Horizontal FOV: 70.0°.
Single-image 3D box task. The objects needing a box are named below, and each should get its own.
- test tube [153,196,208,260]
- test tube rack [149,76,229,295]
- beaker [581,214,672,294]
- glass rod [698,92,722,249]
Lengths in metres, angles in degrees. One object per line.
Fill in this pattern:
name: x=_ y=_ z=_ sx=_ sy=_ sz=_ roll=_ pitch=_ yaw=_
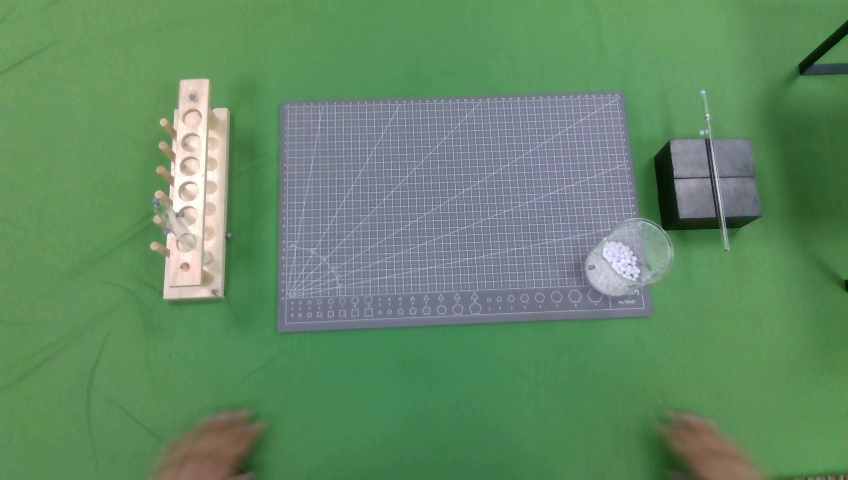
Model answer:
test tube: x=-0.256 y=-0.008 z=0.647 sx=0.017 sy=0.151 sz=0.017 roll=2 pitch=69 yaw=-4
test tube rack: x=-0.278 y=-0.062 z=0.710 sx=0.067 sy=0.085 sz=0.241 roll=-2 pitch=76 yaw=-2
beaker: x=0.225 y=0.021 z=0.696 sx=0.084 sy=0.101 sz=0.073 roll=0 pitch=75 yaw=-1
glass rod: x=0.343 y=-0.086 z=0.727 sx=0.008 sy=0.008 sz=0.198 roll=0 pitch=76 yaw=-2
